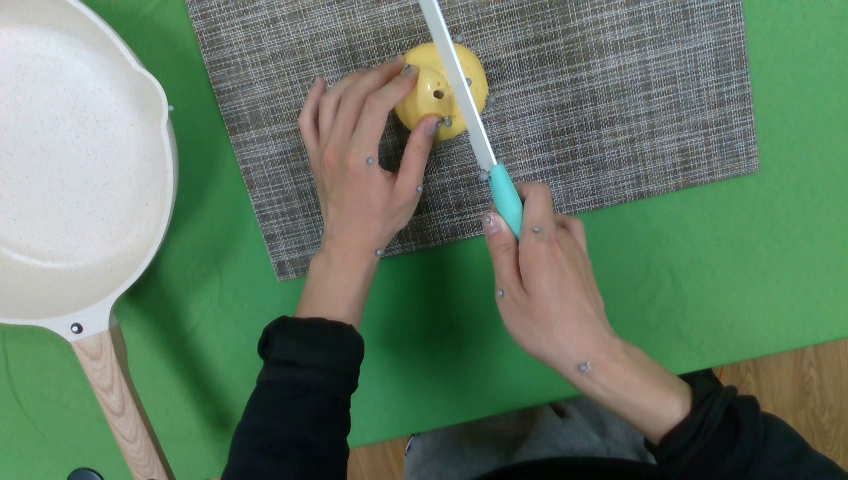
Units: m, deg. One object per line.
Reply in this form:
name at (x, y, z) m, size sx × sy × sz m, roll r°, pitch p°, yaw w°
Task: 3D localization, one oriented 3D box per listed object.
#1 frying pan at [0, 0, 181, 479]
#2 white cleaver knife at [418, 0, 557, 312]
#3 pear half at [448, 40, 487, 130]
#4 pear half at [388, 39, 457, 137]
frying pan at (-0.313, 0.022, 0.528) m, size 0.307 × 0.102 × 0.488 m, roll -17°, pitch 97°, yaw 7°
white cleaver knife at (0.041, -0.071, 0.426) m, size 0.021 × 0.065 × 0.288 m, roll -23°, pitch 112°, yaw 0°
pear half at (0.034, -0.125, 0.481) m, size 0.031 × 0.087 × 0.070 m, roll -11°, pitch 102°, yaw 5°
pear half at (-0.001, -0.117, 0.473) m, size 0.056 × 0.109 × 0.076 m, roll -11°, pitch 101°, yaw 6°
